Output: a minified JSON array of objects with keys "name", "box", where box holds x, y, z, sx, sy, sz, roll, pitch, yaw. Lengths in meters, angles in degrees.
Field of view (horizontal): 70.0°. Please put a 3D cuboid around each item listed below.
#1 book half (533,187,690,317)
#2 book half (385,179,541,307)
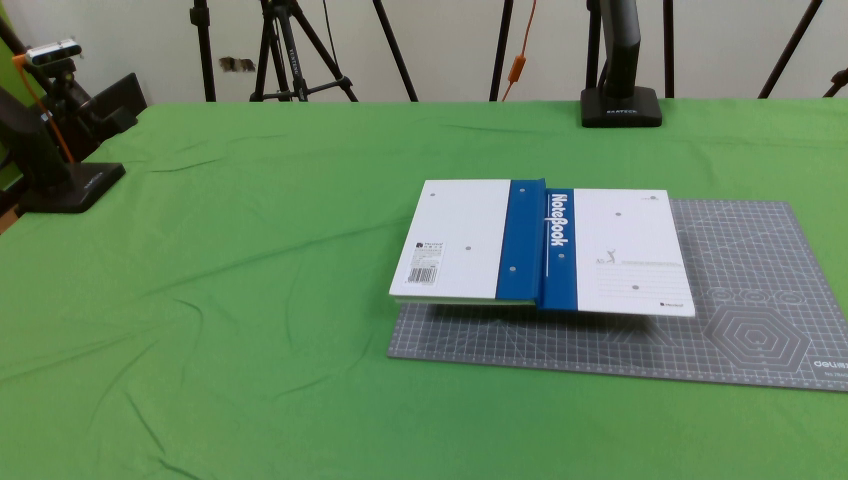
[{"name":"book half","box":[0.192,0.003,0.644,0.143,0.007,0.208,2,38,10]},{"name":"book half","box":[0.051,-0.006,0.665,0.148,0.016,0.208,1,39,12]}]
